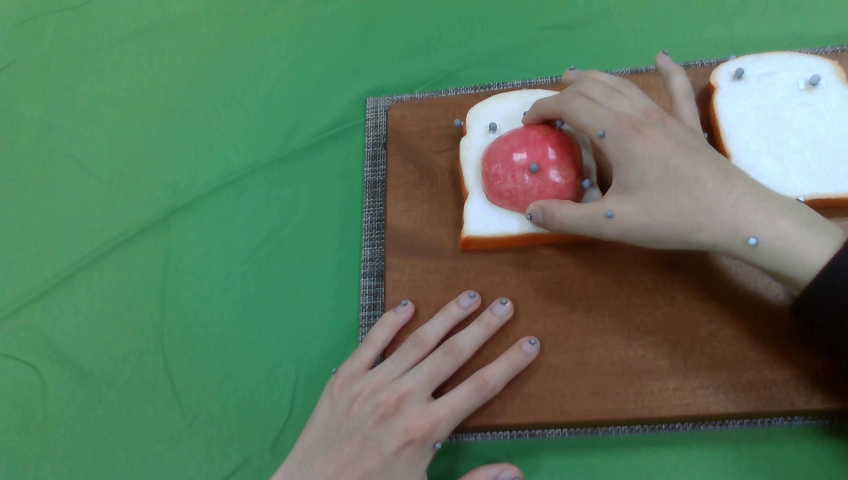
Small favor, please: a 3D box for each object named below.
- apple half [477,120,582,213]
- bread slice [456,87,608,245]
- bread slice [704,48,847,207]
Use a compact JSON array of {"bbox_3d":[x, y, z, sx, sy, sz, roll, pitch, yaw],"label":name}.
[{"bbox_3d":[0.073,-0.058,0.422,0.081,0.033,0.080,-3,63,6],"label":"apple half"},{"bbox_3d":[0.073,-0.059,0.449,0.105,0.019,0.130,-5,62,5],"label":"bread slice"},{"bbox_3d":[0.255,-0.083,0.431,0.107,0.018,0.133,-6,61,5],"label":"bread slice"}]
